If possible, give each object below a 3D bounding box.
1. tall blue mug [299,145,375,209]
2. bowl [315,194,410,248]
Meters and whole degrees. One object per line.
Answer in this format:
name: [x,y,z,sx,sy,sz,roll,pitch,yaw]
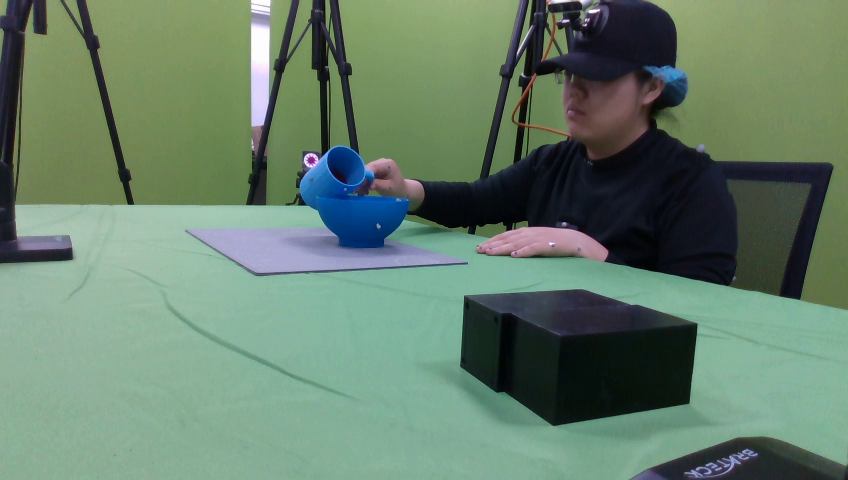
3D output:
tall blue mug: [-0.150,-0.112,1.059,0.107,0.078,0.107,-33,0,-41]
bowl: [-0.100,-0.030,0.971,0.151,0.077,0.151,2,7,0]
